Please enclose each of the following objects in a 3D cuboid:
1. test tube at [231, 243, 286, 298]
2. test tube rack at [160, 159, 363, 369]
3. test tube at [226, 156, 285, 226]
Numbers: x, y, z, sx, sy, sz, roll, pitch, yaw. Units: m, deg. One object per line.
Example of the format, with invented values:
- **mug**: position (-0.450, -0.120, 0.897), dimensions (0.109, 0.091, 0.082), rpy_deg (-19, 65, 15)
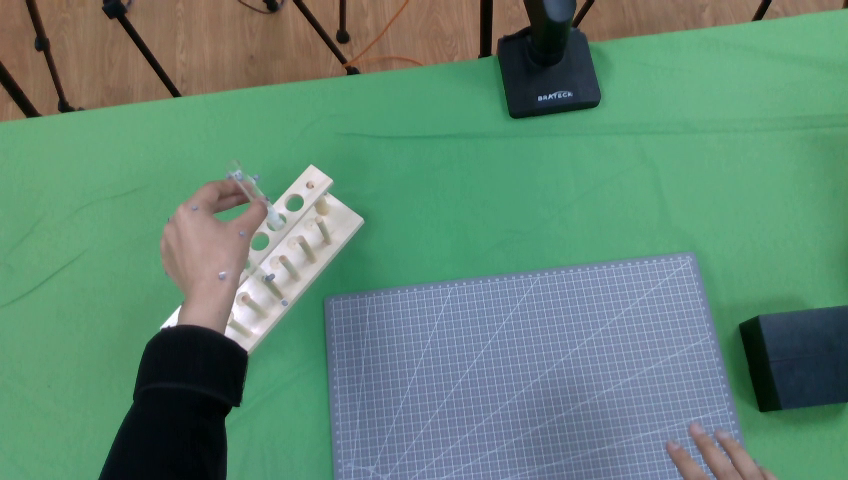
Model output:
- **test tube**: position (-0.176, 0.035, 0.654), dimensions (0.017, 0.151, 0.017), rpy_deg (-1, 69, 3)
- **test tube rack**: position (-0.179, 0.029, 0.702), dimensions (0.066, 0.086, 0.242), rpy_deg (37, 77, 13)
- **test tube**: position (-0.172, -0.046, 0.632), dimensions (0.017, 0.151, 0.017), rpy_deg (-1, 69, 4)
